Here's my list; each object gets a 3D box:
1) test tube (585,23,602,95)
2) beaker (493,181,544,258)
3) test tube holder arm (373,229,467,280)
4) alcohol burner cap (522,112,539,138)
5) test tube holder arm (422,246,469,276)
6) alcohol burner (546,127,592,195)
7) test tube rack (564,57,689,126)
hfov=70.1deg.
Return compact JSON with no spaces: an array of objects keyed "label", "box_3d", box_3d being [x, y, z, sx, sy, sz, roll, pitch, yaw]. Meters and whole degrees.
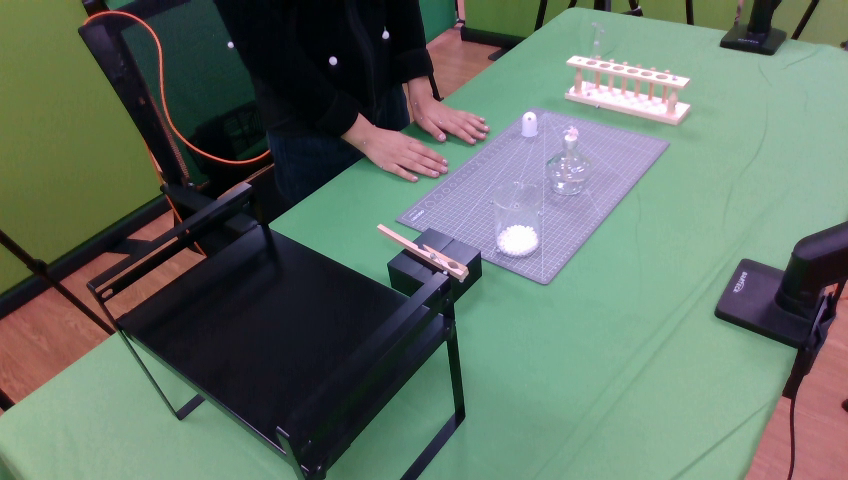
[{"label":"test tube","box_3d":[0.342,-0.364,1.226,0.017,0.151,0.017,-2,42,2]},{"label":"beaker","box_3d":[0.145,-0.031,0.925,0.074,0.101,0.084,6,41,16]},{"label":"test tube holder arm","box_3d":[-0.010,0.019,0.885,0.177,0.015,0.013,23,48,33]},{"label":"alcohol burner cap","box_3d":[0.210,-0.230,1.195,0.034,0.048,0.033,-5,41,5]},{"label":"test tube holder arm","box_3d":[0.028,0.031,0.864,0.087,0.015,0.010,25,49,34]},{"label":"alcohol burner","box_3d":[0.246,-0.137,1.023,0.078,0.119,0.077,-4,38,4]},{"label":"test tube rack","box_3d":[0.411,-0.311,1.231,0.240,0.085,0.067,24,49,32]}]
